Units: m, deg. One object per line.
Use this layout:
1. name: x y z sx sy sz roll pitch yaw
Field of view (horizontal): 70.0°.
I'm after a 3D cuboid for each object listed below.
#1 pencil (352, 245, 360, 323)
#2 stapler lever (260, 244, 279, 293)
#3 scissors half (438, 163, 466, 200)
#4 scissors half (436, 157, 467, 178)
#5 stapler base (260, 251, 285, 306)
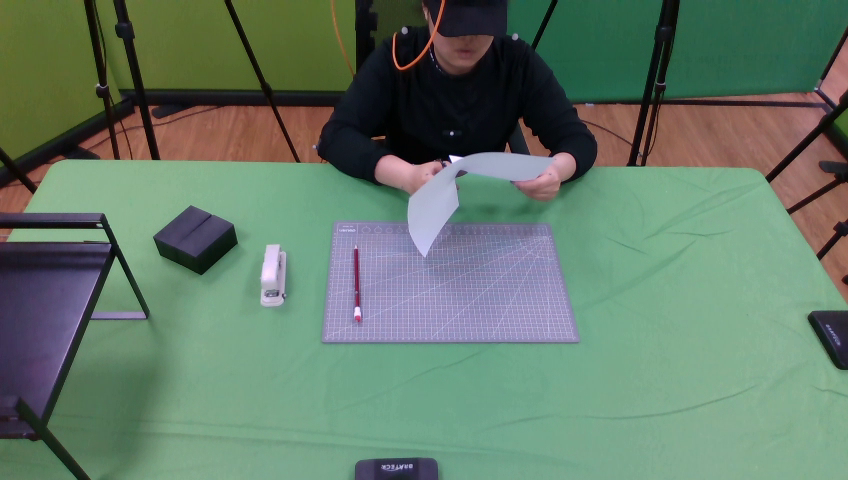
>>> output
1. pencil: -0.127 0.076 1.120 0.012 0.012 0.192 -2 44 -7
2. stapler lever: -0.279 0.045 1.096 0.027 0.040 0.117 -2 44 -9
3. scissors half: 0.056 -0.115 1.172 0.013 0.175 0.040 -13 77 -16
4. scissors half: 0.053 -0.137 1.171 0.013 0.040 0.174 -8 14 -16
5. stapler base: -0.279 0.064 1.113 0.041 0.024 0.129 -2 44 -9
